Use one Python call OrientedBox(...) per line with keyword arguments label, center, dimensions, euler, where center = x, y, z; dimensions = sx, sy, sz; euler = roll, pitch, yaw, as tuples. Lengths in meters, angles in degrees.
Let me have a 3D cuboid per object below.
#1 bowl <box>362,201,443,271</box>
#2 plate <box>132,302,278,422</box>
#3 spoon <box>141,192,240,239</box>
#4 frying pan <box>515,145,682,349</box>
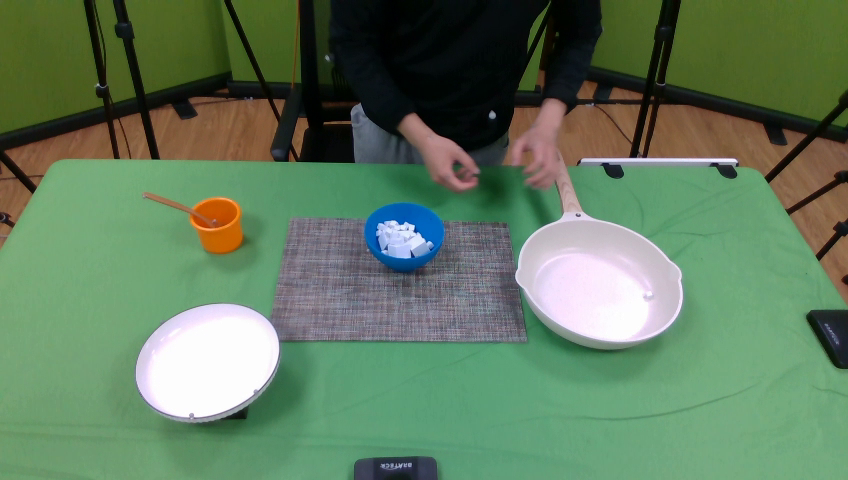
OrientedBox(label="bowl", center=(-0.041, 0.005, 1.144), dimensions=(0.151, 0.077, 0.150), euler=(3, 46, -3))
OrientedBox(label="plate", center=(-0.325, 0.186, 0.916), dimensions=(0.208, 0.039, 0.206), euler=(3, 44, -2))
OrientedBox(label="spoon", center=(-0.428, -0.048, 1.123), dimensions=(0.021, 0.195, 0.041), euler=(-38, 44, 21))
OrientedBox(label="frying pan", center=(0.302, -0.004, 1.168), dimensions=(0.307, 0.103, 0.484), euler=(-1, 55, -7))
